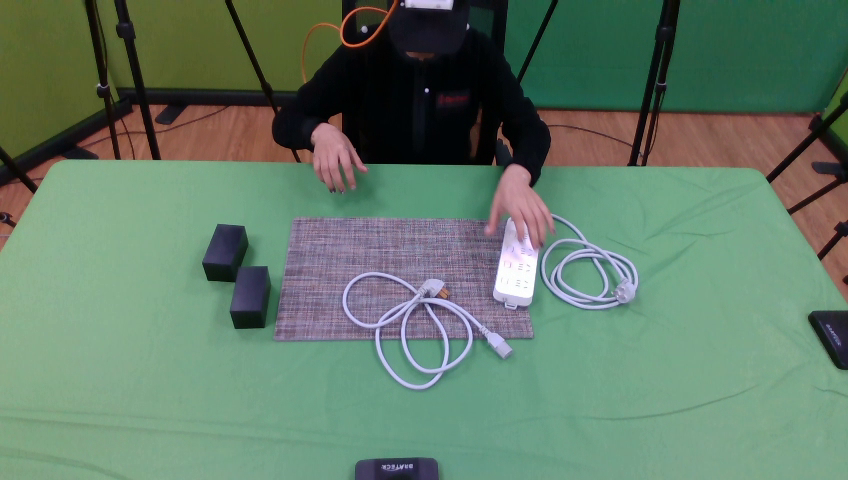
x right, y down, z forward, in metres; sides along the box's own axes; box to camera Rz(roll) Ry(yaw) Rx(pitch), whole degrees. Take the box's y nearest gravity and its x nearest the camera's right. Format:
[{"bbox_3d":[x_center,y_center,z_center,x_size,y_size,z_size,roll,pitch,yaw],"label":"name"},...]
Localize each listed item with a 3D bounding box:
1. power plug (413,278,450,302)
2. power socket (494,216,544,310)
[{"bbox_3d":[0.013,0.101,1.092,0.052,0.035,0.072,39,65,-2],"label":"power plug"},{"bbox_3d":[0.184,0.037,1.161,0.072,0.033,0.225,12,46,7],"label":"power socket"}]
